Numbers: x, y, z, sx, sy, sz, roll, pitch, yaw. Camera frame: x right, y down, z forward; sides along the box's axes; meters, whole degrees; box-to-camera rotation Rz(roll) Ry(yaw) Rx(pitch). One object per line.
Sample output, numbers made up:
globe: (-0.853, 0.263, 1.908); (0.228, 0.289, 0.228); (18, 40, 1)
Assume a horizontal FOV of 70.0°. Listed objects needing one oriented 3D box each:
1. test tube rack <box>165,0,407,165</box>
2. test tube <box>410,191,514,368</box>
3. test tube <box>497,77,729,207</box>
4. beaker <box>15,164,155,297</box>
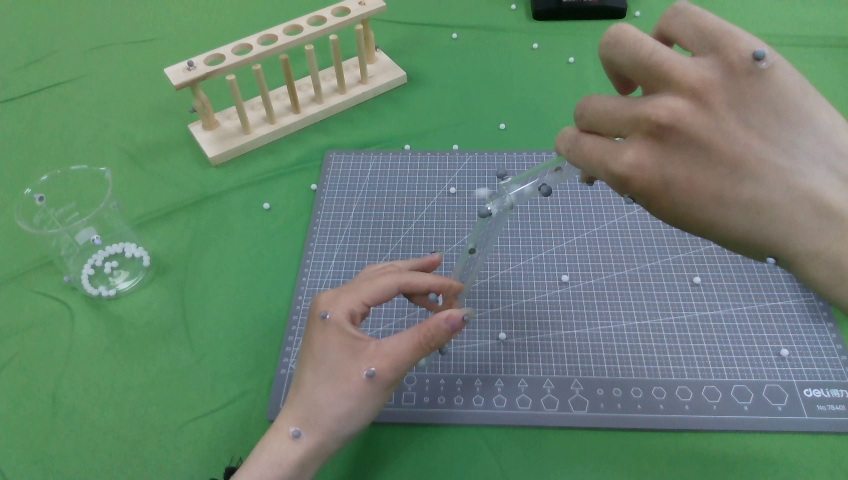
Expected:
test tube rack: (-0.140, -0.180, 0.662); (0.242, 0.086, 0.066); (-29, 55, -19)
test tube: (0.020, 0.032, 0.381); (0.017, 0.151, 0.017); (15, 37, -11)
test tube: (0.109, -0.057, 0.345); (0.150, 0.017, 0.017); (-26, 54, -8)
beaker: (-0.282, -0.006, 0.521); (0.073, 0.101, 0.083); (23, 55, 19)
